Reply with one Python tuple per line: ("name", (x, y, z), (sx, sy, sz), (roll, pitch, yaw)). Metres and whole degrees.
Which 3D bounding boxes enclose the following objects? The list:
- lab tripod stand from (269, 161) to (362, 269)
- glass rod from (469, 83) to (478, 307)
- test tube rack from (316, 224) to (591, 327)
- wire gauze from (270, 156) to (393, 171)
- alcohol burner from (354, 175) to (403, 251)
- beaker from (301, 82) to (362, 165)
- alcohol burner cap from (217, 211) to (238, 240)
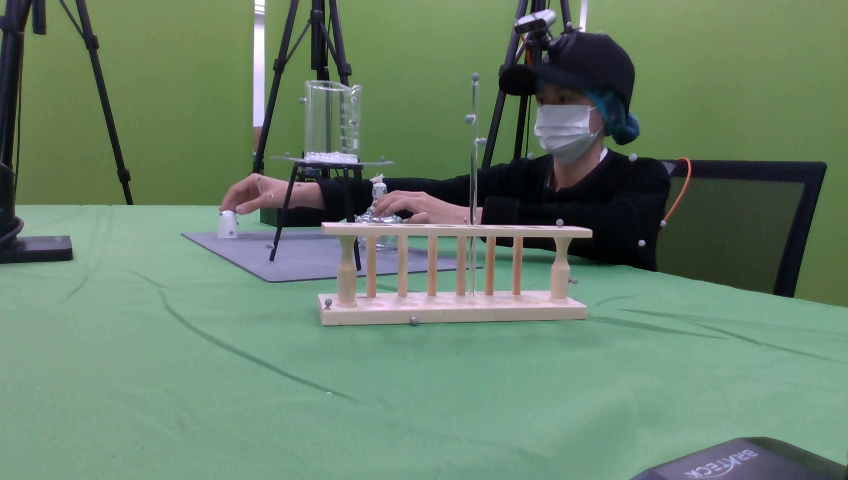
("lab tripod stand", (-0.125, -0.036, 0.794), (0.148, 0.131, 0.148), (5, 7, 0))
("glass rod", (0.043, -0.033, 0.523), (0.008, 0.199, 0.008), (-1, 14, 1))
("test tube rack", (0.026, 0.028, 0.555), (0.243, 0.085, 0.066), (1, 7, -14))
("wire gauze", (-0.122, -0.100, 0.786), (0.122, 0.011, 0.124), (-5, 14, -38))
("alcohol burner", (-0.072, -0.042, 0.944), (0.078, 0.119, 0.078), (1, 9, 0))
("beaker", (-0.117, -0.147, 0.776), (0.074, 0.100, 0.083), (-3, 10, -38))
("alcohol burner cap", (-0.323, -0.024, 0.994), (0.034, 0.048, 0.034), (3, 7, 0))
